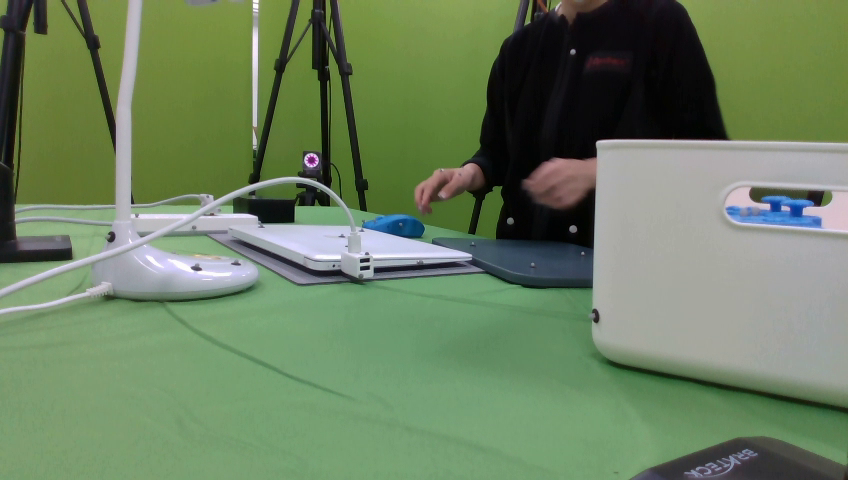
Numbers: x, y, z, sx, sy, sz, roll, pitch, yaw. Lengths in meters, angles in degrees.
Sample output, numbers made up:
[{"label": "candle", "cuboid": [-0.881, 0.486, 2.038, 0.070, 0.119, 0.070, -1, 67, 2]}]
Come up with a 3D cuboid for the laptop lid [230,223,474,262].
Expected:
[{"label": "laptop lid", "cuboid": [-0.121, 0.000, 0.888, 0.243, 0.013, 0.355, 1, 7, -33]}]

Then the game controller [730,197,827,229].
[{"label": "game controller", "cuboid": [0.257, -0.004, 0.445, 0.097, 0.051, 0.155, 1, 7, 15]}]

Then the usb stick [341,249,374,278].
[{"label": "usb stick", "cuboid": [-0.078, 0.026, 0.686, 0.021, 0.027, 0.059, -8, 8, -30]}]

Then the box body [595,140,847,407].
[{"label": "box body", "cuboid": [0.309, 0.006, 0.510, 0.253, 0.160, 0.366, 6, 8, 29]}]

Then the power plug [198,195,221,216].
[{"label": "power plug", "cuboid": [-0.386, -0.055, 1.088, 0.035, 0.052, 0.072, -2, 7, -24]}]

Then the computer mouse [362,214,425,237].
[{"label": "computer mouse", "cuboid": [-0.057, -0.028, 1.139, 0.118, 0.041, 0.062, -2, 9, -20]}]

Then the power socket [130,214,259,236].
[{"label": "power socket", "cuboid": [-0.397, -0.028, 1.048, 0.228, 0.032, 0.072, -3, 7, -35]}]

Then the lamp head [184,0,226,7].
[{"label": "lamp head", "cuboid": [-0.229, -0.320, 0.627, 0.112, 0.112, 0.123, 6, -35, 26]}]

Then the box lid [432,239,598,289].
[{"label": "box lid", "cuboid": [0.183, 0.029, 0.895, 0.264, 0.015, 0.370, 1, 7, -18]}]

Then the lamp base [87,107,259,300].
[{"label": "lamp base", "cuboid": [-0.254, -0.039, 0.603, 0.160, 0.180, 0.179, 5, 10, 18]}]

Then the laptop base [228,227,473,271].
[{"label": "laptop base", "cuboid": [-0.124, 0.011, 0.889, 0.237, 0.023, 0.352, 2, 6, -35]}]
